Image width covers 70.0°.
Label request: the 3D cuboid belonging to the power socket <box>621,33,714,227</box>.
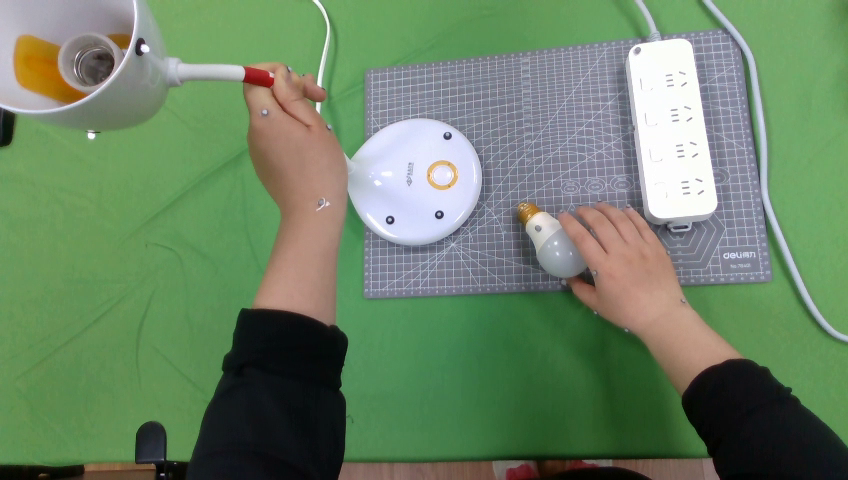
[{"bbox_3d":[0.270,-0.128,0.677,0.072,0.033,0.225,-5,77,9],"label":"power socket"}]

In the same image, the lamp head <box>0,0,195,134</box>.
[{"bbox_3d":[-0.219,-0.120,0.399,0.112,0.123,0.112,0,85,3],"label":"lamp head"}]

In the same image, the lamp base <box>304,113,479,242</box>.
[{"bbox_3d":[-0.041,-0.090,0.655,0.179,0.181,0.159,-10,76,12],"label":"lamp base"}]

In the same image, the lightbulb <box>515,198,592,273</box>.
[{"bbox_3d":[0.139,-0.009,0.670,0.059,0.060,0.106,-41,58,1],"label":"lightbulb"}]
